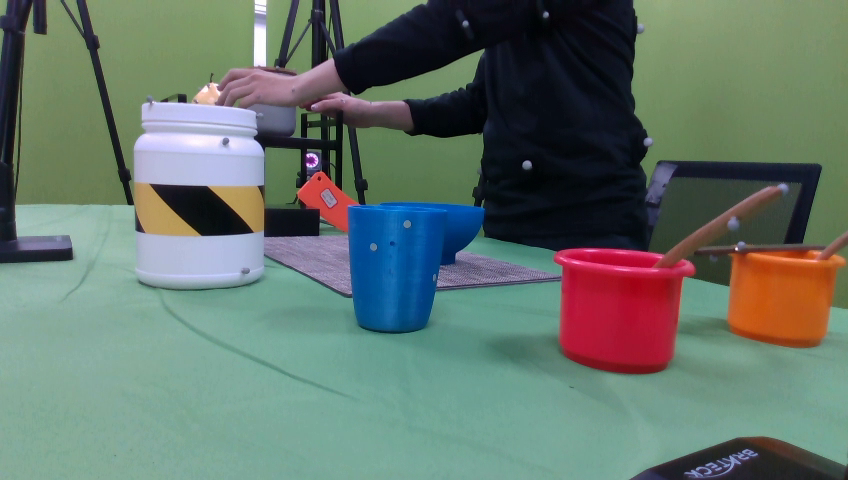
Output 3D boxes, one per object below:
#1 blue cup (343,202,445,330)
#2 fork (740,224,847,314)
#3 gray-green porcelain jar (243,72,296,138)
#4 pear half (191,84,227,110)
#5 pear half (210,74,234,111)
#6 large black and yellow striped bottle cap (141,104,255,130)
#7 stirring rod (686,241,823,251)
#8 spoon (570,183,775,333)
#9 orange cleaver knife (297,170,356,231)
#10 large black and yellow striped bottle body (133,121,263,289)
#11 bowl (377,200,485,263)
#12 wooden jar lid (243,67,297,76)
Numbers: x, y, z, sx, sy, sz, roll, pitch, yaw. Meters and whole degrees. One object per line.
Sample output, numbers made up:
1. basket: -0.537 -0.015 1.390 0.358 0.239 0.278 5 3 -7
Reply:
1. blue cup: -0.027 0.021 0.510 0.093 0.100 0.092 3 5 0
2. fork: 0.323 0.013 0.485 0.028 0.018 0.207 9 -38 -5
3. gray-green porcelain jar: -0.322 -0.279 1.263 0.106 0.126 0.106 3 8 0
4. pear half: -0.405 -0.248 1.128 0.070 0.088 0.031 6 7 2
5. pear half: -0.401 -0.261 1.162 0.076 0.109 0.056 7 7 2
6. large black and yellow striped bottle cap: -0.241 -0.131 0.650 0.115 0.019 0.115 3 8 0
7. stirring rod: 0.290 0.005 0.525 0.177 0.006 0.014 -1 5 -26
8. spoon: 0.160 0.020 0.413 0.042 0.021 0.193 0 -36 -24
9. orange cleaver knife: -0.150 -0.058 1.171 0.212 0.077 0.012 33 -15 -32
10. large black and yellow striped bottle body: -0.243 -0.048 0.659 0.131 0.184 0.130 2 7 0
11. bowl: 0.008 -0.012 0.842 0.151 0.077 0.151 2 7 0
12. wooden jar lid: -0.319 -0.342 1.254 0.108 0.020 0.108 3 8 0
